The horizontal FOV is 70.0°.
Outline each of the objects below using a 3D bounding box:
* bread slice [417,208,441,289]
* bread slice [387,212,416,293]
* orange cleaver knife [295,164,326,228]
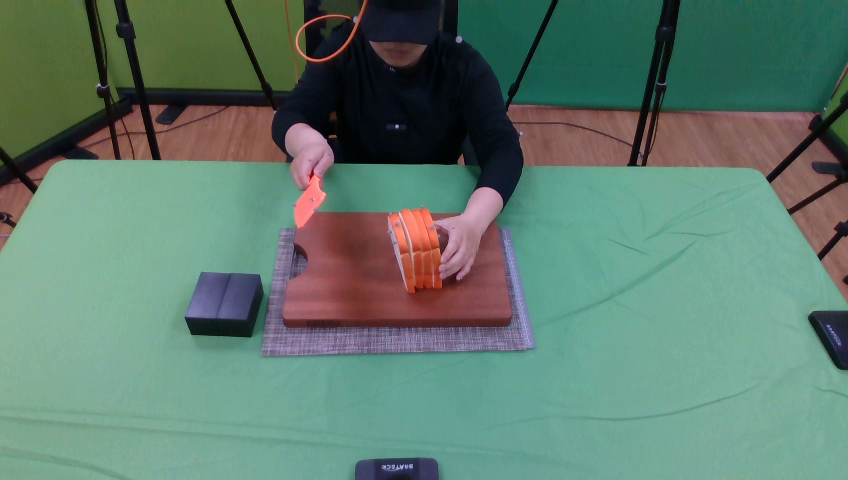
[{"bbox_3d":[0.009,0.011,1.075,0.018,0.135,0.106,-13,51,-9],"label":"bread slice"},{"bbox_3d":[-0.041,0.015,1.067,0.019,0.132,0.104,-16,46,-6],"label":"bread slice"},{"bbox_3d":[-0.196,-0.078,1.027,0.012,0.077,0.210,37,12,-23],"label":"orange cleaver knife"}]
